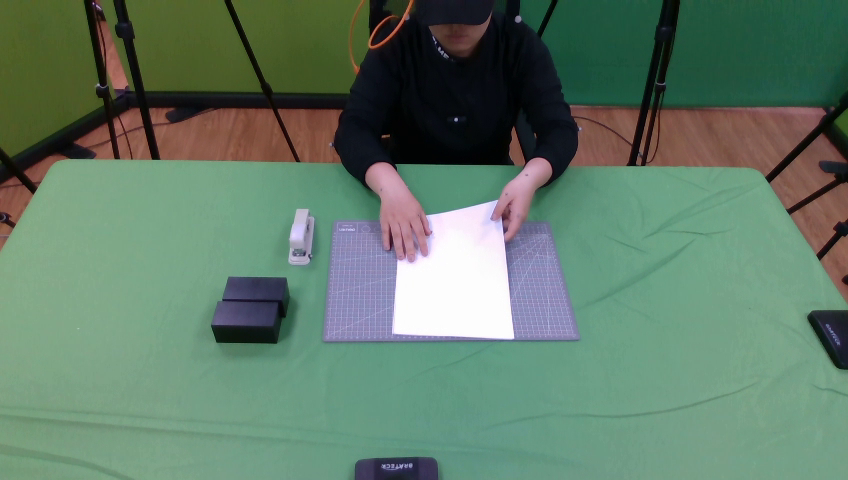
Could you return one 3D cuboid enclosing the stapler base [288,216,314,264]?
[{"bbox_3d":[-0.241,-0.007,1.185,0.041,0.024,0.129,1,44,-6],"label":"stapler base"}]

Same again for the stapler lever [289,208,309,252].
[{"bbox_3d":[-0.240,-0.026,1.168,0.027,0.040,0.117,1,44,-6],"label":"stapler lever"}]
